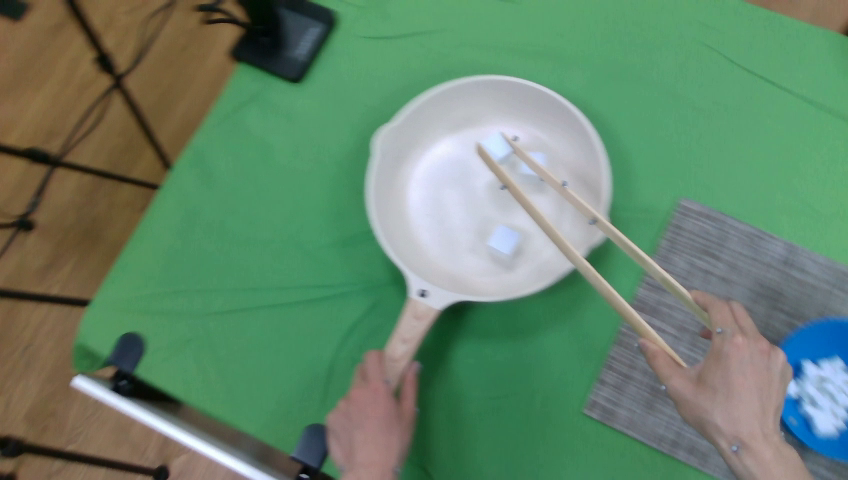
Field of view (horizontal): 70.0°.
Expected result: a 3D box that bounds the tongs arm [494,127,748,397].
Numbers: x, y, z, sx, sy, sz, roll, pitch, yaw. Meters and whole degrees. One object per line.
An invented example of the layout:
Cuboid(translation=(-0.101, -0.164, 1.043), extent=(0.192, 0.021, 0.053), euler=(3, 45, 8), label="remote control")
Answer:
Cuboid(translation=(0.177, 0.000, 0.626), extent=(0.051, 0.027, 0.380), euler=(-35, 56, -12), label="tongs arm")

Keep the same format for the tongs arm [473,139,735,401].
Cuboid(translation=(0.158, 0.012, 0.623), extent=(0.028, 0.028, 0.383), euler=(-29, 55, -12), label="tongs arm")

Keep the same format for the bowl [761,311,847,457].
Cuboid(translation=(0.439, 0.158, 0.667), extent=(0.151, 0.077, 0.150), euler=(-1, 76, 4), label="bowl")

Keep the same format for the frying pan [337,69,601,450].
Cuboid(translation=(0.021, 0.018, 0.724), extent=(0.306, 0.103, 0.486), euler=(25, 70, 11), label="frying pan")
